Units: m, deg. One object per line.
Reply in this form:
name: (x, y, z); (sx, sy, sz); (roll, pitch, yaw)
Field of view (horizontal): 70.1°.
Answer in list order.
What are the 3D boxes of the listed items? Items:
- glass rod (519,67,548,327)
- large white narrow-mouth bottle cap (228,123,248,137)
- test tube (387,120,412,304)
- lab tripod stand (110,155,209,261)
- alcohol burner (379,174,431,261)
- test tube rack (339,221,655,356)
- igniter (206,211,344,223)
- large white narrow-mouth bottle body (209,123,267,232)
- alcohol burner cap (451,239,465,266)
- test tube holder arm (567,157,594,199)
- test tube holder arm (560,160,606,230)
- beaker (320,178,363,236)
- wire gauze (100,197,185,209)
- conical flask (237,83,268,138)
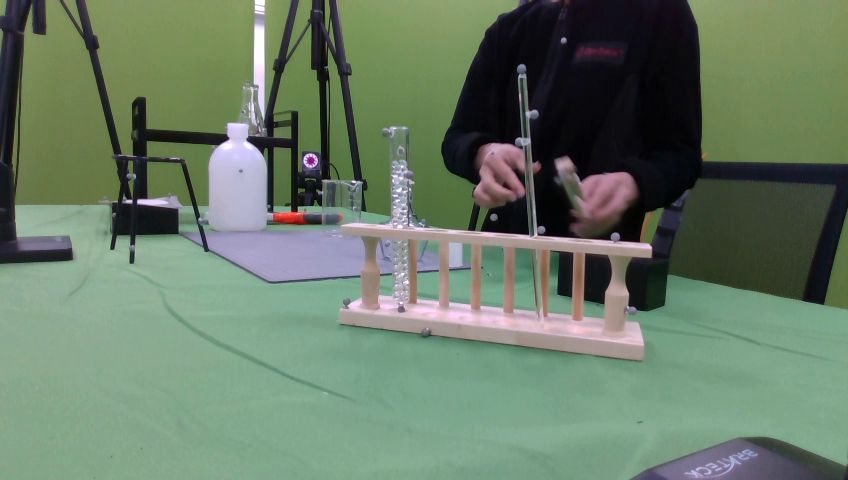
glass rod: (0.084, -0.029, 0.459); (0.008, 0.199, 0.008); (-7, 11, 2)
large white narrow-mouth bottle cap: (-0.338, -0.199, 1.097); (0.038, 0.024, 0.037); (2, 8, 0)
test tube: (-0.019, -0.021, 0.488); (0.017, 0.150, 0.017); (-1, 13, 1)
lab tripod stand: (-0.361, -0.046, 0.806); (0.148, 0.131, 0.148); (2, 5, 0)
alcohol burner: (-0.027, -0.031, 0.838); (0.078, 0.119, 0.078); (0, 6, 0)
test tube rack: (0.056, 0.032, 0.495); (0.242, 0.085, 0.067); (4, 7, 15)
igniter: (-0.302, -0.048, 1.249); (0.278, 0.025, 0.057); (-2, -2, -26)
large white narrow-mouth bottle body: (-0.340, -0.115, 1.109); (0.102, 0.194, 0.102); (2, 8, 0)
alcohol burner cap: (0.041, 0.010, 0.815); (0.034, 0.048, 0.034); (4, 7, 0)
test tube holder arm: (0.178, -0.068, 0.685); (0.010, 0.015, 0.088); (-17, -28, 20)
test tube holder arm: (0.193, -0.050, 0.725); (0.013, 0.015, 0.179); (-18, -28, 21)
beaker: (-0.145, -0.059, 1.079); (0.074, 0.100, 0.083); (-4, 10, -35)
wire gauze: (-0.469, -0.062, 1.008); (0.126, 0.011, 0.121); (-2, 8, -25)
conical flask: (-0.402, -0.299, 1.406); (0.075, 0.122, 0.075); (2, 7, 0)
